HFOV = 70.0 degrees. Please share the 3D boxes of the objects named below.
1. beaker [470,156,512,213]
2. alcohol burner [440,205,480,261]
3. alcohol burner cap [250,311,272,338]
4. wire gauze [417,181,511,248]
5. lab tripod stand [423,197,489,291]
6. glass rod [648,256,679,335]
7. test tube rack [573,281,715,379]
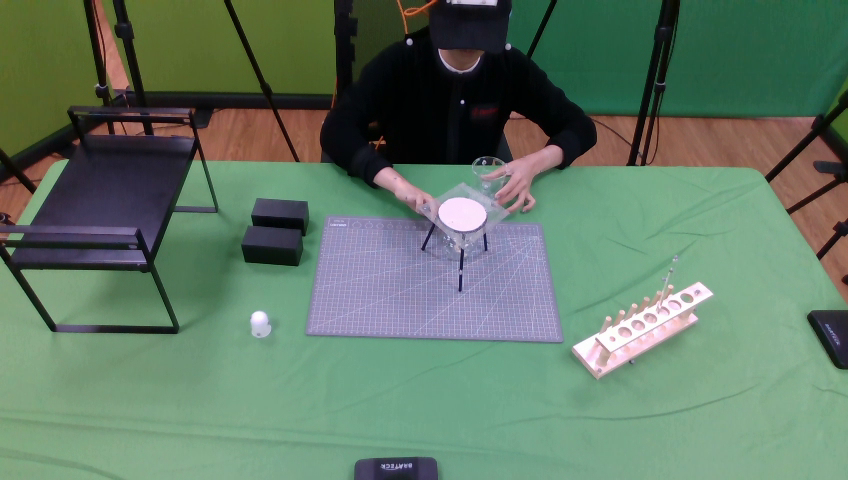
[{"bbox_3d":[0.136,-0.113,1.260,0.084,0.101,0.073,-2,46,-5],"label":"beaker"},{"bbox_3d":[0.069,-0.018,1.148,0.078,0.120,0.077,1,44,-1],"label":"alcohol burner"},{"bbox_3d":[-0.278,0.141,1.026,0.034,0.048,0.033,1,46,-1],"label":"alcohol burner cap"},{"bbox_3d":[0.071,-0.051,1.073,0.121,0.011,0.124,-32,55,-29],"label":"wire gauze"},{"bbox_3d":[0.064,-0.002,1.119,0.148,0.132,0.147,1,47,0],"label":"lab tripod stand"},{"bbox_3d":[0.390,0.095,0.990,0.008,0.201,0.008,-2,46,3],"label":"glass rod"},{"bbox_3d":[0.378,0.140,1.038,0.242,0.085,0.066,-22,51,-23],"label":"test tube rack"}]
